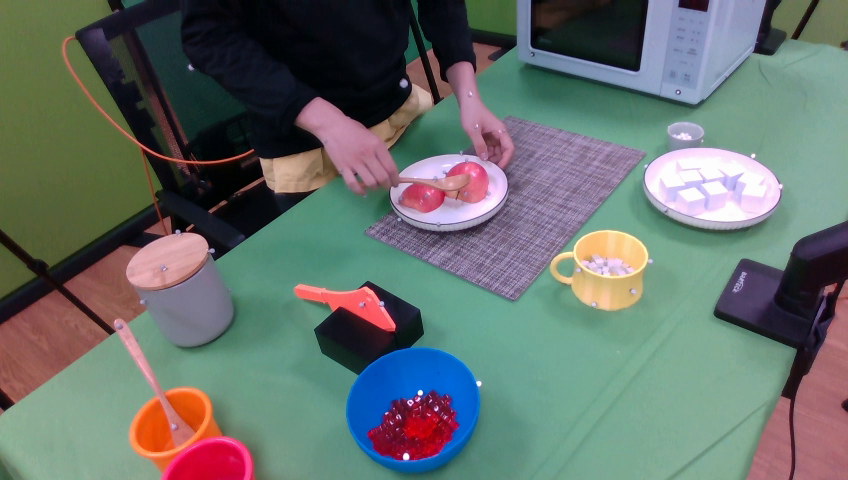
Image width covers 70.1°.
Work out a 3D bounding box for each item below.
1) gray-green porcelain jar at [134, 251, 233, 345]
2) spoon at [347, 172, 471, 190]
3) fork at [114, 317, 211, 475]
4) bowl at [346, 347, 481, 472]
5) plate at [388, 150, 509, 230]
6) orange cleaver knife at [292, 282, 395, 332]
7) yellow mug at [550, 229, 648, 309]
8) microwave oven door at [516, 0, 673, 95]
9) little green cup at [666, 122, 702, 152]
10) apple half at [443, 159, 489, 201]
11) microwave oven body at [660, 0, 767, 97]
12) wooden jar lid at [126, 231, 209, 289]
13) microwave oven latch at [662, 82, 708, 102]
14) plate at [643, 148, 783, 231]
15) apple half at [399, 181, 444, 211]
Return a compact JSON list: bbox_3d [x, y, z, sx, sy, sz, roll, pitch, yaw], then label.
[{"bbox_3d":[-0.334,0.076,0.849,0.106,0.127,0.105,-4,41,4],"label":"gray-green porcelain jar"},{"bbox_3d":[-0.024,-0.092,0.936,0.193,0.022,0.041,1,38,4],"label":"spoon"},{"bbox_3d":[-0.309,0.179,0.707,0.028,0.018,0.207,-30,89,-22],"label":"fork"},{"bbox_3d":[-0.008,0.205,0.691,0.151,0.077,0.150,-4,40,4],"label":"bowl"},{"bbox_3d":[0.044,-0.082,1.042,0.209,0.038,0.208,-4,41,4],"label":"plate"},{"bbox_3d":[-0.116,0.091,0.835,0.209,0.077,0.012,2,32,48],"label":"orange cleaver knife"},{"bbox_3d":[0.245,0.040,0.856,0.130,0.064,0.099,1,42,11],"label":"yellow mug"},{"bbox_3d":[0.344,-0.458,1.257,0.353,0.245,0.039,26,52,33],"label":"microwave oven door"},{"bbox_3d":[0.471,-0.184,1.102,0.061,0.039,0.061,-5,41,5],"label":"little green cup"},{"bbox_3d":[0.074,-0.110,1.047,0.080,0.053,0.075,21,46,29],"label":"apple half"},{"bbox_3d":[0.473,-0.517,1.313,0.438,0.261,0.327,26,52,34],"label":"microwave oven body"},{"bbox_3d":[-0.340,0.030,0.808,0.108,0.021,0.108,-5,39,5],"label":"wooden jar lid"},{"bbox_3d":[0.517,-0.298,1.203,0.078,0.029,0.030,28,52,35],"label":"microwave oven latch"},{"bbox_3d":[0.464,-0.080,0.986,0.207,0.039,0.206,-4,41,4],"label":"plate"},{"bbox_3d":[-0.004,-0.088,1.045,0.081,0.033,0.081,-2,43,2],"label":"apple half"}]
